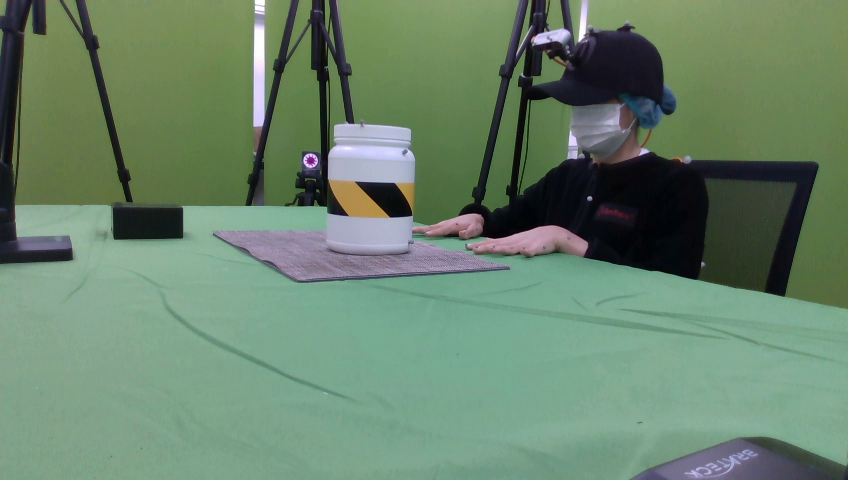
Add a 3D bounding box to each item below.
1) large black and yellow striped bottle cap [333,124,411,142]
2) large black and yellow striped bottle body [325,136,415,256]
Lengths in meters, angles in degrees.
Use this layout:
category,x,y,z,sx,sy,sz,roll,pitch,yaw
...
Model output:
category,x,y,z,sx,sy,sz,roll,pitch,yaw
large black and yellow striped bottle cap,-0.077,-0.157,0.896,0.115,0.019,0.115,5,7,0
large black and yellow striped bottle body,-0.080,-0.074,0.905,0.131,0.184,0.130,3,7,0
